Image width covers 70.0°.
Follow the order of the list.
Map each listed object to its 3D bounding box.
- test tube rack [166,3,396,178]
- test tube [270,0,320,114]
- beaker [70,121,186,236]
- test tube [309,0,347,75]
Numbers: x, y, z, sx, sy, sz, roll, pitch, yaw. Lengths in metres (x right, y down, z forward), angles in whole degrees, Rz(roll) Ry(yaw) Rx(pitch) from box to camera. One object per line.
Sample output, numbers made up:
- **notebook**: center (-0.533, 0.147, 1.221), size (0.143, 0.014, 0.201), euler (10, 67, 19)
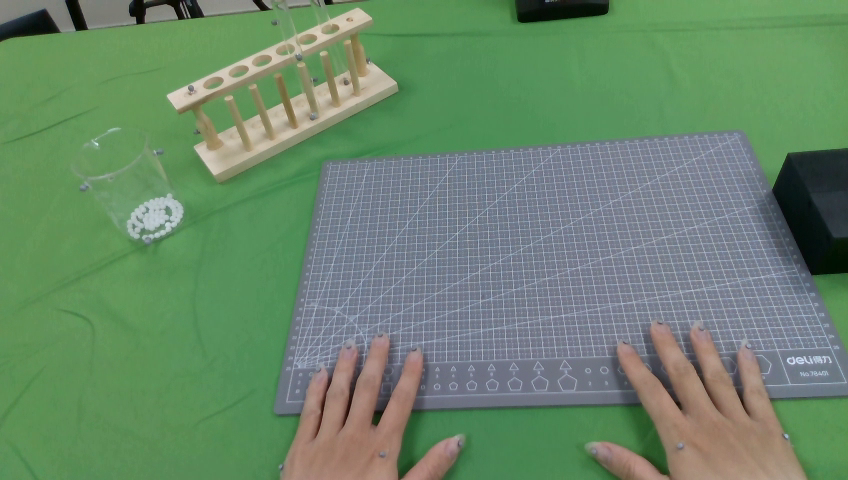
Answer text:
- **test tube rack**: center (-0.156, -0.175, 0.696), size (0.242, 0.086, 0.066), euler (-32, 54, -17)
- **test tube**: center (-0.138, -0.200, 0.656), size (0.017, 0.152, 0.017), euler (-5, 49, 6)
- **beaker**: center (-0.295, -0.059, 0.613), size (0.083, 0.101, 0.074), euler (30, 61, 29)
- **test tube**: center (-0.115, -0.251, 0.689), size (0.017, 0.152, 0.017), euler (-7, 51, 9)
